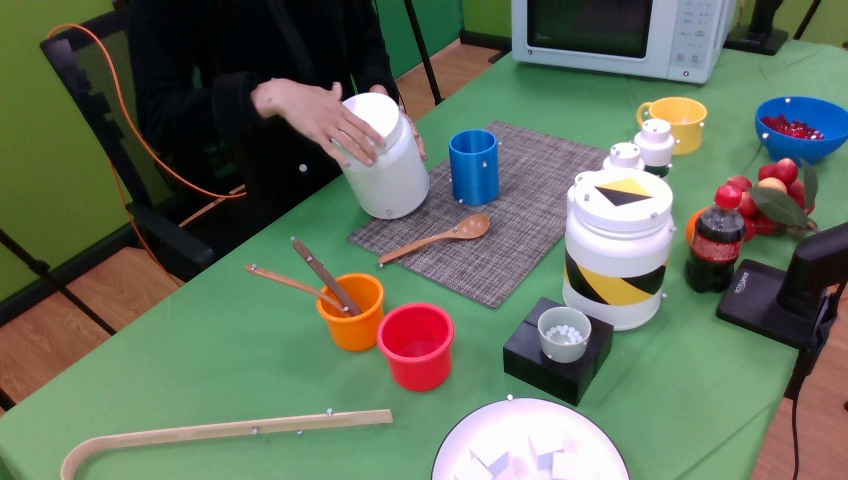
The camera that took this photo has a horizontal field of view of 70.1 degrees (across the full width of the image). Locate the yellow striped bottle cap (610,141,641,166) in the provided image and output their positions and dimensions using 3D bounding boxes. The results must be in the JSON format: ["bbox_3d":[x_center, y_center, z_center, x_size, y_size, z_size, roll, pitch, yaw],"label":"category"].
[{"bbox_3d":[0.308,-0.131,0.925,0.044,0.019,0.044,-4,46,5],"label":"yellow striped bottle cap"}]

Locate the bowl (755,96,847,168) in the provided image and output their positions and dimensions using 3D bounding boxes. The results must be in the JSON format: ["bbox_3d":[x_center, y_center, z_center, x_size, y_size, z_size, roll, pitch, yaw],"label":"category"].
[{"bbox_3d":[0.645,-0.177,1.041,0.151,0.077,0.150,-5,40,4],"label":"bowl"}]

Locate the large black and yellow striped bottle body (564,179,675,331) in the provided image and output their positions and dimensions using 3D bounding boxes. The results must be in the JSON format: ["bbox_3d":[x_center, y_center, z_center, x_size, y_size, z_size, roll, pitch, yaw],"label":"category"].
[{"bbox_3d":[0.253,0.014,0.793,0.131,0.185,0.130,-5,40,4],"label":"large black and yellow striped bottle body"}]

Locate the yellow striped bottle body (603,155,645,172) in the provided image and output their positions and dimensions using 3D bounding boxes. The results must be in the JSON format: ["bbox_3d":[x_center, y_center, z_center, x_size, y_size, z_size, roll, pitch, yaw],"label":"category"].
[{"bbox_3d":[0.314,-0.090,0.958,0.063,0.121,0.062,-4,40,4],"label":"yellow striped bottle body"}]

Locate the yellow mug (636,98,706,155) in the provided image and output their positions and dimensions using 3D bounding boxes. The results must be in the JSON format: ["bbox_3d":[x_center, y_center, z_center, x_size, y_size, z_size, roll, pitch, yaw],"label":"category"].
[{"bbox_3d":[0.453,-0.217,1.128,0.100,0.064,0.129,-34,46,-27],"label":"yellow mug"}]

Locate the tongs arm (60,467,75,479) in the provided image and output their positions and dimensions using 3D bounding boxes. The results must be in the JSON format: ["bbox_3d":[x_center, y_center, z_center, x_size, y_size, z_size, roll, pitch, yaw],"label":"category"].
[{"bbox_3d":[-0.239,0.301,0.649,0.386,0.028,0.028,6,49,16],"label":"tongs arm"}]

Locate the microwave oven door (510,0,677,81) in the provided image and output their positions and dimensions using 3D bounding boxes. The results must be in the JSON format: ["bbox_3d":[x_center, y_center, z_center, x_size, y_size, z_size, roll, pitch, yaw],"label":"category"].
[{"bbox_3d":[0.354,-0.478,1.290,0.353,0.245,0.039,15,45,25],"label":"microwave oven door"}]

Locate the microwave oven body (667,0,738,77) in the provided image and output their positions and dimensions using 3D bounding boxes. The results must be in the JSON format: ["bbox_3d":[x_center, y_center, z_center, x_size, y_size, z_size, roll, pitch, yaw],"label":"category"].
[{"bbox_3d":[0.462,-0.552,1.369,0.439,0.261,0.326,15,45,26],"label":"microwave oven body"}]

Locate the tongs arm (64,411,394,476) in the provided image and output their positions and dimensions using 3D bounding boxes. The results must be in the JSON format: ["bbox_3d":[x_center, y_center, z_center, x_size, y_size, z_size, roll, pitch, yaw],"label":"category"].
[{"bbox_3d":[-0.228,0.241,0.715,0.385,0.026,0.050,-5,44,5],"label":"tongs arm"}]

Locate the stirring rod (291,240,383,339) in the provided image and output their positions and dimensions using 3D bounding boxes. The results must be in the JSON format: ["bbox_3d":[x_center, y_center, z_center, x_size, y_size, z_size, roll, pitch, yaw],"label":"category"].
[{"bbox_3d":[-0.118,0.068,0.826,0.176,0.006,0.014,48,59,-4],"label":"stirring rod"}]

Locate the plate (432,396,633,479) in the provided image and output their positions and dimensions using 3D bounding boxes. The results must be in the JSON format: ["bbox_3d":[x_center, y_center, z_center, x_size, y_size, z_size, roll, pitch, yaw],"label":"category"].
[{"bbox_3d":[0.112,0.261,0.634,0.209,0.038,0.208,-5,40,4],"label":"plate"}]

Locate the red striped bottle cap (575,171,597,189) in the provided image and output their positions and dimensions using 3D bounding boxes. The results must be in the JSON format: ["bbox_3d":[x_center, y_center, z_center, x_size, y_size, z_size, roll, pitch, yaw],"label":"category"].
[{"bbox_3d":[0.242,-0.081,0.876,0.044,0.018,0.044,-5,44,5],"label":"red striped bottle cap"}]

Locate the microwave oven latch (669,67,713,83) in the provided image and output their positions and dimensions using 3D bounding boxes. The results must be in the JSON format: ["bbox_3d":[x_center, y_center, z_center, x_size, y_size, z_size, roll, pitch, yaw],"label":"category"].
[{"bbox_3d":[0.556,-0.349,1.261,0.078,0.029,0.030,16,46,27],"label":"microwave oven latch"}]

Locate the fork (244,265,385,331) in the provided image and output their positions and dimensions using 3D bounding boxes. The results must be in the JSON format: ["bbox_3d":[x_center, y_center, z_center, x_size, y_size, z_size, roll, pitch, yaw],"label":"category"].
[{"bbox_3d":[-0.142,0.078,0.806,0.209,0.018,0.028,30,33,-23],"label":"fork"}]

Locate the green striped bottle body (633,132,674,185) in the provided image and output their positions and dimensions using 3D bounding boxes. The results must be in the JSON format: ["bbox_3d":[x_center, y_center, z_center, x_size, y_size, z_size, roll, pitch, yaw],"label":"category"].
[{"bbox_3d":[0.376,-0.135,1.001,0.063,0.120,0.063,-5,40,5],"label":"green striped bottle body"}]

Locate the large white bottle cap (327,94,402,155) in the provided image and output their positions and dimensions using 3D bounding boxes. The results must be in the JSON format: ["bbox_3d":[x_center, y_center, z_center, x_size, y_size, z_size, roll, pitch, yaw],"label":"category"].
[{"bbox_3d":[-0.091,-0.178,0.923,0.114,0.018,0.114,-7,56,10],"label":"large white bottle cap"}]

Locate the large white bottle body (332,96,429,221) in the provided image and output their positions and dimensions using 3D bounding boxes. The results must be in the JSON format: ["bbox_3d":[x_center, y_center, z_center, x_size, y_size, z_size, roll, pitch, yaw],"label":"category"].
[{"bbox_3d":[-0.072,-0.132,0.992,0.130,0.186,0.130,-7,57,11],"label":"large white bottle body"}]

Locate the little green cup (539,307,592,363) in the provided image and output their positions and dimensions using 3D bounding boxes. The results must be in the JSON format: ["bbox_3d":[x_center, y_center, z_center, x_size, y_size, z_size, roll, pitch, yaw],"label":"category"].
[{"bbox_3d":[0.168,0.114,0.721,0.061,0.039,0.061,-4,43,4],"label":"little green cup"}]

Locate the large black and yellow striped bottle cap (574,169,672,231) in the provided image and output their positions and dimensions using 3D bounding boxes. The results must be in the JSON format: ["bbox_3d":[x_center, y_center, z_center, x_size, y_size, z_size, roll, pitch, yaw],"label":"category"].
[{"bbox_3d":[0.242,-0.051,0.738,0.115,0.019,0.114,-4,37,3],"label":"large black and yellow striped bottle cap"}]

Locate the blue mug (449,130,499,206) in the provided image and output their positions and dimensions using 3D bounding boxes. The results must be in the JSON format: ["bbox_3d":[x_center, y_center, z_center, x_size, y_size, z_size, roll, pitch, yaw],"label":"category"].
[{"bbox_3d":[0.091,-0.134,1.051,0.082,0.106,0.116,4,41,13],"label":"blue mug"}]

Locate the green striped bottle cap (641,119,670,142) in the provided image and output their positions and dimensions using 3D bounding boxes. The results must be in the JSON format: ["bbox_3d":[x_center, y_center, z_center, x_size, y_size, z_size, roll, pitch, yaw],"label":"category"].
[{"bbox_3d":[0.371,-0.175,0.968,0.044,0.020,0.044,-5,42,5],"label":"green striped bottle cap"}]

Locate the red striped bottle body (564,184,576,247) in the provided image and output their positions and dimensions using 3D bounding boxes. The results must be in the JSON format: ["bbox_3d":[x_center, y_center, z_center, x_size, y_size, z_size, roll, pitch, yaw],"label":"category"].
[{"bbox_3d":[0.247,-0.041,0.910,0.063,0.120,0.062,-3,39,3],"label":"red striped bottle body"}]

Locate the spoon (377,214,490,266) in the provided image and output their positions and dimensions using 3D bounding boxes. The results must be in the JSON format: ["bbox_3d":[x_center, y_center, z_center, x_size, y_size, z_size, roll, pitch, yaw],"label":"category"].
[{"bbox_3d":[0.015,0.001,0.966,0.194,0.022,0.041,-18,62,-12],"label":"spoon"}]
